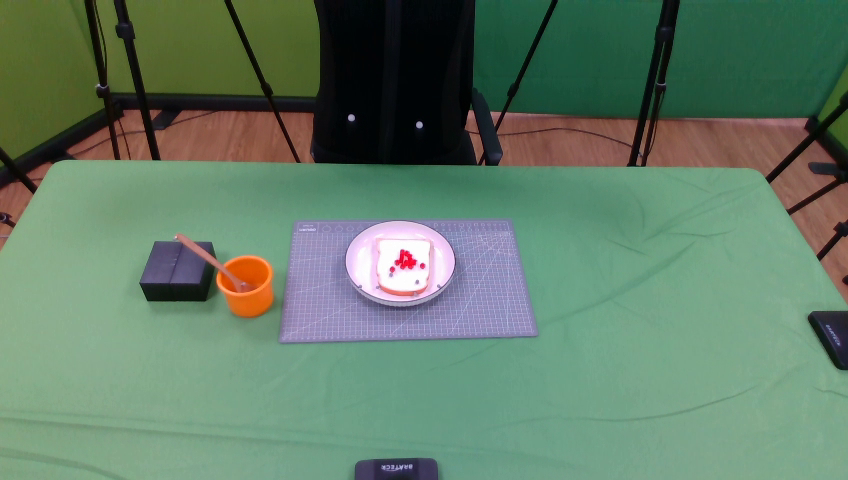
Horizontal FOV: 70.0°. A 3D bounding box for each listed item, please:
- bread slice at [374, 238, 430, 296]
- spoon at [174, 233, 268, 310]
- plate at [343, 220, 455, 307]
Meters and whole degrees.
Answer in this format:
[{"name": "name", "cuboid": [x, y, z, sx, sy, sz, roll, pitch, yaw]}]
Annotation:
[{"name": "bread slice", "cuboid": [-0.039, 0.048, 1.135, 0.107, 0.018, 0.133, -1, 47, -4]}, {"name": "spoon", "cuboid": [-0.344, 0.052, 1.033, 0.021, 0.194, 0.041, -19, 32, 43]}, {"name": "plate", "cuboid": [-0.047, 0.046, 1.135, 0.209, 0.038, 0.208, 2, 46, -2]}]
